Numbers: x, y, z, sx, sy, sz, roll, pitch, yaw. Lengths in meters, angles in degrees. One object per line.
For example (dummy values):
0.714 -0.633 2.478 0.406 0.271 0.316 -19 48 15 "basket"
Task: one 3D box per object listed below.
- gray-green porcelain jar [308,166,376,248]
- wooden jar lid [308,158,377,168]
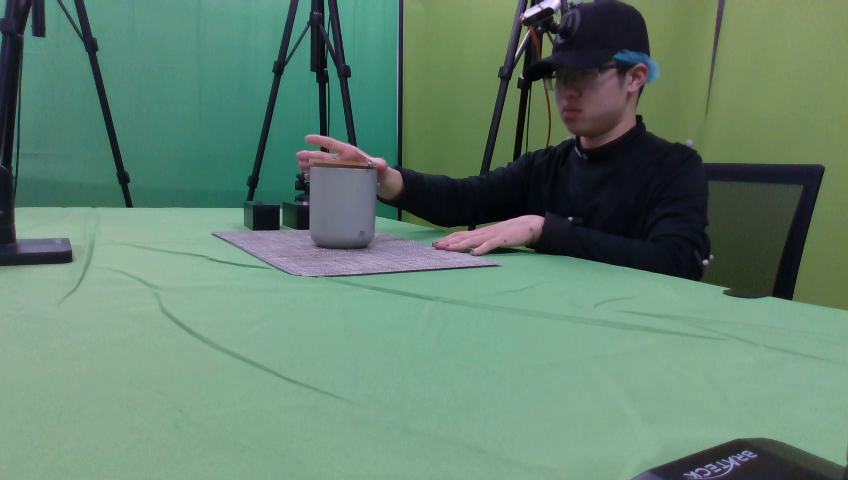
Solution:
-0.131 -0.054 0.965 0.106 0.126 0.106 2 7 0 "gray-green porcelain jar"
-0.128 -0.117 0.956 0.108 0.020 0.108 5 6 0 "wooden jar lid"
